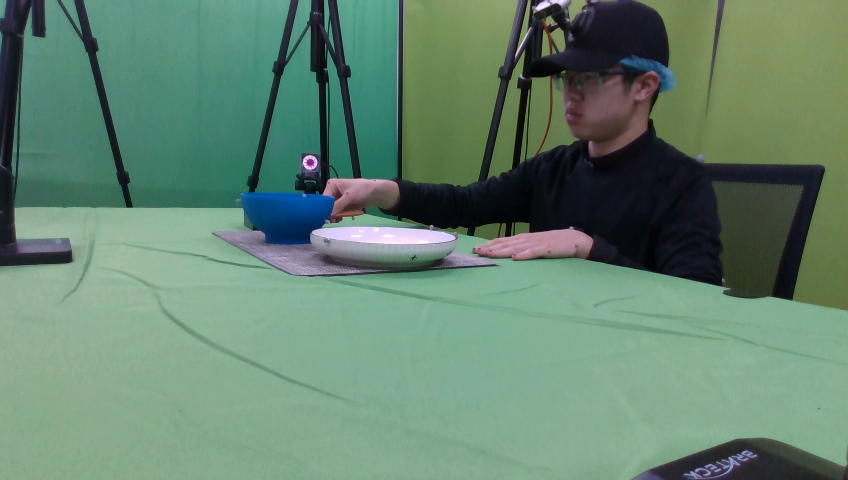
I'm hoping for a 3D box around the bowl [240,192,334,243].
[{"bbox_3d":[-0.223,-0.037,0.992,0.151,0.077,0.151,2,7,0],"label":"bowl"}]

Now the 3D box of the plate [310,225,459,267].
[{"bbox_3d":[-0.055,0.008,0.851,0.208,0.039,0.207,2,7,0],"label":"plate"}]

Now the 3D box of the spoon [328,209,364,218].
[{"bbox_3d":[-0.196,-0.041,1.147,0.195,0.021,0.041,-15,37,-33],"label":"spoon"}]
